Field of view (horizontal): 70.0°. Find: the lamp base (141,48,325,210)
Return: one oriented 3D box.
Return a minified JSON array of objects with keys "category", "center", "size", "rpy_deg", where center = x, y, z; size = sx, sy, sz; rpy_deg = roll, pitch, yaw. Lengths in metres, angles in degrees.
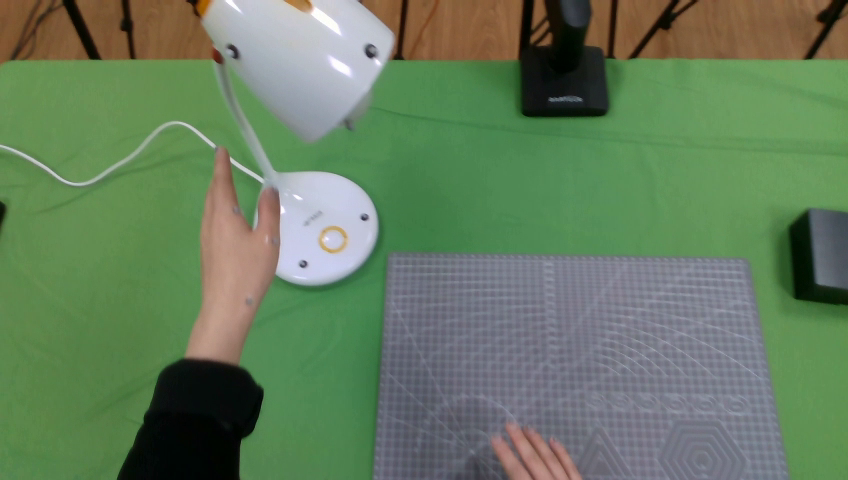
[{"category":"lamp base","center":[-0.210,-0.133,0.645],"size":[0.179,0.181,0.160],"rpy_deg":[12,76,6]}]

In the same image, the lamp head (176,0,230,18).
[{"category":"lamp head","center":[-0.165,-0.212,0.366],"size":[0.124,0.112,0.112],"rpy_deg":[19,73,-33]}]

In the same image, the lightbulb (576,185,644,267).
[{"category":"lightbulb","center":[0.204,-0.019,0.682],"size":[0.059,0.060,0.106],"rpy_deg":[-21,61,-5]}]
